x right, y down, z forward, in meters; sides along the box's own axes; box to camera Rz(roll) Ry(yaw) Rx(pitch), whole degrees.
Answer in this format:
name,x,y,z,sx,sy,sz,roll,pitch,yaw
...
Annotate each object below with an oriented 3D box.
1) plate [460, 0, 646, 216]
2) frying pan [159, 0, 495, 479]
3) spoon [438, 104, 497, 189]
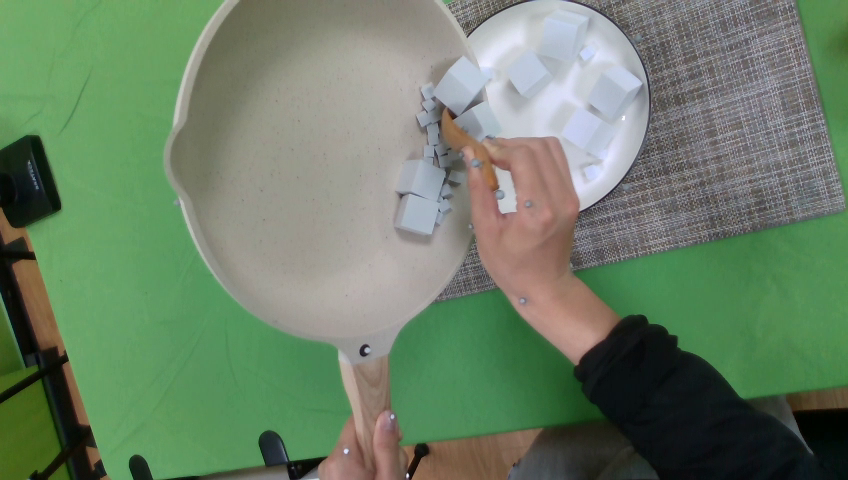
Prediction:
name,x,y,z,sx,sy,sz,roll,pitch,yaw
plate,0.108,-0.128,0.590,0.206,0.039,0.208,4,101,23
frying pan,-0.056,0.035,0.493,0.102,0.308,0.488,0,97,47
spoon,0.033,-0.075,0.469,0.021,0.192,0.042,-21,113,-2
